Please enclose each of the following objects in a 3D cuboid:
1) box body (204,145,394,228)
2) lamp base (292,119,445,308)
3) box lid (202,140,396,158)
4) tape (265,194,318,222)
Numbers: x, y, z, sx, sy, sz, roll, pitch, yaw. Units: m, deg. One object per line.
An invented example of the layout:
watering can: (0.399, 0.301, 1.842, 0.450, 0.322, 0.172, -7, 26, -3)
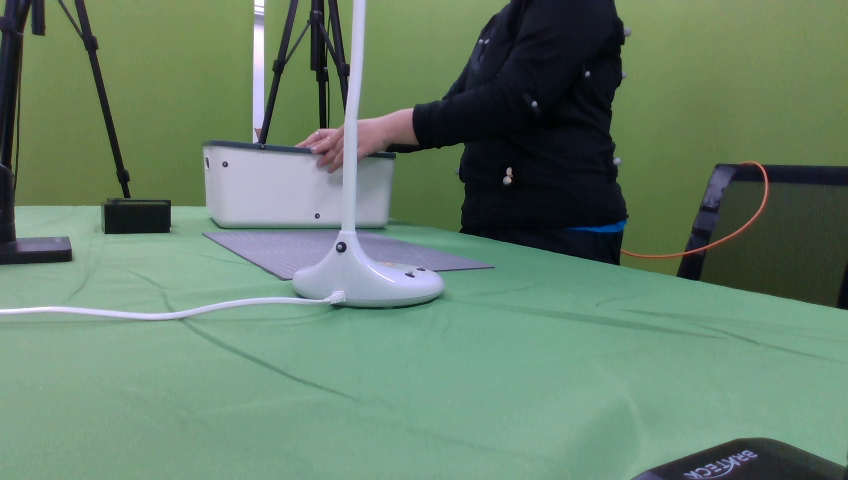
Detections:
box body: (-0.271, -0.117, 1.291, 0.366, 0.160, 0.253, -1, 8, -25)
lamp base: (-0.056, -0.030, 0.616, 0.160, 0.180, 0.179, 4, 10, 8)
box lid: (-0.270, -0.190, 1.281, 0.373, 0.015, 0.262, 0, 8, -25)
tape: (-0.284, -0.069, 1.298, 0.117, 0.052, 0.117, 3, 7, 0)
